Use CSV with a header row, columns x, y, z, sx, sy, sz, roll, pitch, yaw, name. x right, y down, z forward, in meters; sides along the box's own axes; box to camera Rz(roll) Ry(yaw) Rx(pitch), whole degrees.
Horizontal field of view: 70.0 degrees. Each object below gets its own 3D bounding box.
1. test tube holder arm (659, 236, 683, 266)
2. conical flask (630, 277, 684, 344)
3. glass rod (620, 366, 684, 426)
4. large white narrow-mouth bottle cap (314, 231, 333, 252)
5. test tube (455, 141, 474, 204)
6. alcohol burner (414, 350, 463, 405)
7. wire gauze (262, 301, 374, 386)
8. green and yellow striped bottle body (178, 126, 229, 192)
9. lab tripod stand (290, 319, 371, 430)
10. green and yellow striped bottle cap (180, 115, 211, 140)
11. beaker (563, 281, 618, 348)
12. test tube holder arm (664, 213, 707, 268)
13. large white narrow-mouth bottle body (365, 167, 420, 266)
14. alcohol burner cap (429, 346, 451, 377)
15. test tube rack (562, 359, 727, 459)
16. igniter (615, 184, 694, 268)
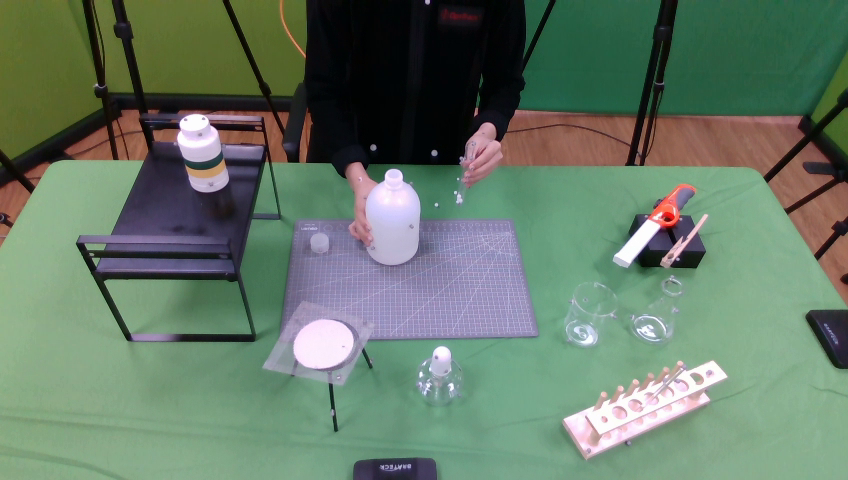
x,y,z,sx,sy,sz,roll,pitch,yaw,name
0.472,0.020,1.149,0.010,0.015,0.088,34,54,27,test tube holder arm
0.408,0.117,1.045,0.075,0.122,0.075,2,46,-2,conical flask
0.323,0.227,0.866,0.008,0.200,0.008,5,51,-7,glass rod
-0.195,0.003,1.178,0.038,0.024,0.037,2,45,-2,large white narrow-mouth bottle cap
0.072,-0.118,1.092,0.017,0.151,0.017,3,51,-4,test tube
0.023,0.205,0.939,0.078,0.120,0.077,1,48,-1,alcohol burner
-0.150,0.148,0.873,0.121,0.011,0.124,14,46,12,wire gauze
-0.361,-0.142,0.989,0.063,0.120,0.063,2,46,-2,green and yellow striped bottle body
-0.146,0.193,0.923,0.148,0.132,0.147,1,47,-1,lab tripod stand
-0.358,-0.177,0.951,0.045,0.020,0.045,2,45,-2,green and yellow striped bottle cap
0.283,0.129,1.041,0.074,0.101,0.083,11,46,7,beaker
0.507,-0.001,1.171,0.013,0.015,0.178,33,53,26,test tube holder arm
-0.059,-0.049,1.117,0.102,0.195,0.101,2,45,-2,large white narrow-mouth bottle body
0.026,0.180,0.912,0.034,0.048,0.033,1,47,-1,alcohol burner cap
0.341,0.247,0.940,0.243,0.085,0.066,-16,49,-18,test tube rack
0.459,-0.035,1.197,0.057,0.025,0.276,32,55,27,igniter
